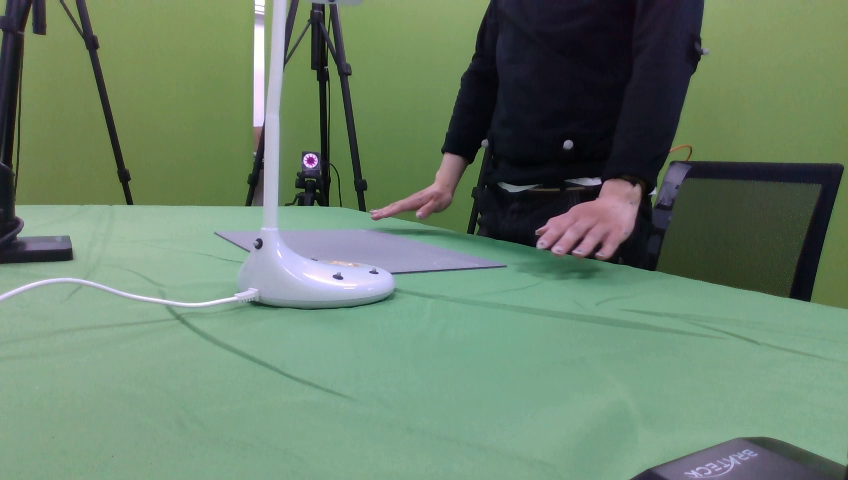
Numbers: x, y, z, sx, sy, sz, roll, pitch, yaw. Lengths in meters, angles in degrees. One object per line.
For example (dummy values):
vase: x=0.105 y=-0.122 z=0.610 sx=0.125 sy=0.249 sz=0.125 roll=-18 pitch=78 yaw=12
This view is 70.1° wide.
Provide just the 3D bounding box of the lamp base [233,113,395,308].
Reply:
lamp base: x=-0.113 y=-0.033 z=0.600 sx=0.160 sy=0.180 sz=0.180 roll=6 pitch=11 yaw=28

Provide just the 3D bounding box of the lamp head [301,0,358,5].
lamp head: x=-0.095 y=-0.314 z=0.610 sx=0.112 sy=0.123 sz=0.112 roll=-4 pitch=50 yaw=5
